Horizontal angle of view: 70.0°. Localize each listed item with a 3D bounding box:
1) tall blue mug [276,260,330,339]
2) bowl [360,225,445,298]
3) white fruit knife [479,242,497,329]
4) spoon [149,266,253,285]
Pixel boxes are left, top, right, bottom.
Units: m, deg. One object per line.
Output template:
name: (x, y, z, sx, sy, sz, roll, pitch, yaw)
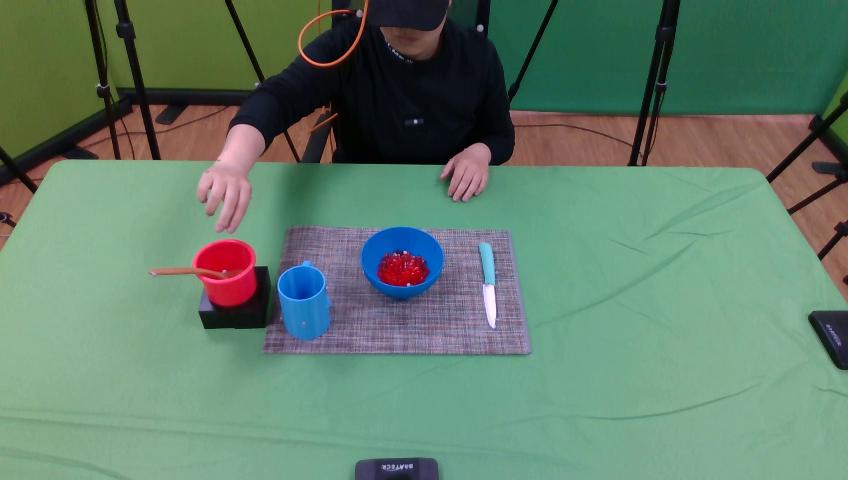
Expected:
tall blue mug: (-0.208, 0.094, 1.025, 0.078, 0.108, 0.106, -21, 51, -21)
bowl: (-0.040, 0.053, 1.099, 0.151, 0.077, 0.150, 2, 46, -2)
white fruit knife: (0.122, 0.080, 1.130, 0.027, 0.016, 0.206, -19, 45, 19)
spoon: (-0.351, 0.052, 0.968, 0.041, 0.021, 0.194, 41, 12, 28)
